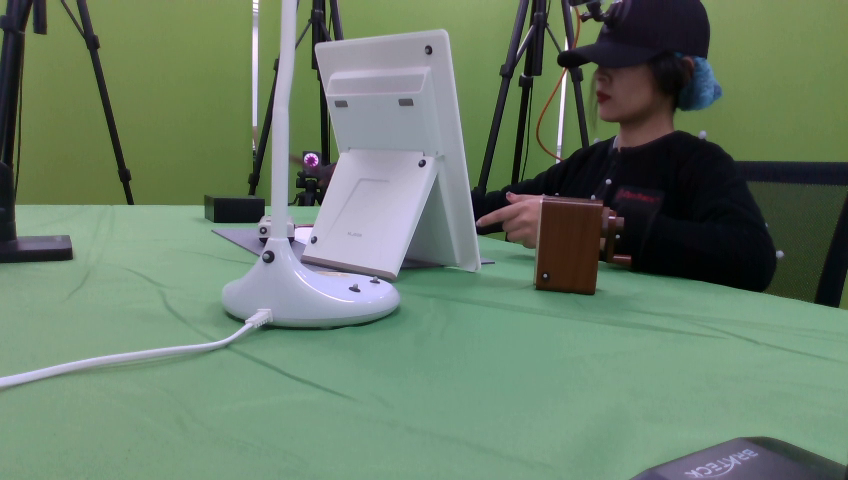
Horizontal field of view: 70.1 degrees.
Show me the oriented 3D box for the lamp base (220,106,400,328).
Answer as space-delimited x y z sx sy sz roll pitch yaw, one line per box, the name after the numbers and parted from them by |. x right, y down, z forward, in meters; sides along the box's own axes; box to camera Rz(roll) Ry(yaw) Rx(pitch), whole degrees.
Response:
-0.101 -0.023 0.531 0.160 0.180 0.179 4 10 10 | lamp base

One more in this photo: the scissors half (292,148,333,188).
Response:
-0.228 -0.150 1.277 0.176 0.040 0.012 37 -4 -38 | scissors half

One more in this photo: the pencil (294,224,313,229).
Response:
-0.218 -0.028 1.207 0.195 0.012 0.012 -5 10 -37 | pencil

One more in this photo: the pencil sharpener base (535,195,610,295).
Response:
0.172 0.005 0.695 0.076 0.107 0.061 5 7 16 | pencil sharpener base

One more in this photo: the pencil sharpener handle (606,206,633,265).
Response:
0.222 -0.004 0.683 0.030 0.068 0.036 5 21 16 | pencil sharpener handle

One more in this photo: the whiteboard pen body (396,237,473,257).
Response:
0.014 0.012 0.886 0.140 0.017 0.017 10 10 38 | whiteboard pen body

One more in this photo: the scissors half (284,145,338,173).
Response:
-0.218 -0.167 1.277 0.176 0.040 0.013 17 3 -38 | scissors half

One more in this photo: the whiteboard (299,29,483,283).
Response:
-0.074 -0.082 0.742 0.216 0.305 0.144 9 30 38 | whiteboard

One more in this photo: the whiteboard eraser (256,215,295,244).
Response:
-0.232 -0.016 0.951 0.056 0.042 0.112 2 7 -12 | whiteboard eraser

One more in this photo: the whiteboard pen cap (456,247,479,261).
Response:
0.060 0.020 0.851 0.033 0.018 0.018 9 10 37 | whiteboard pen cap
